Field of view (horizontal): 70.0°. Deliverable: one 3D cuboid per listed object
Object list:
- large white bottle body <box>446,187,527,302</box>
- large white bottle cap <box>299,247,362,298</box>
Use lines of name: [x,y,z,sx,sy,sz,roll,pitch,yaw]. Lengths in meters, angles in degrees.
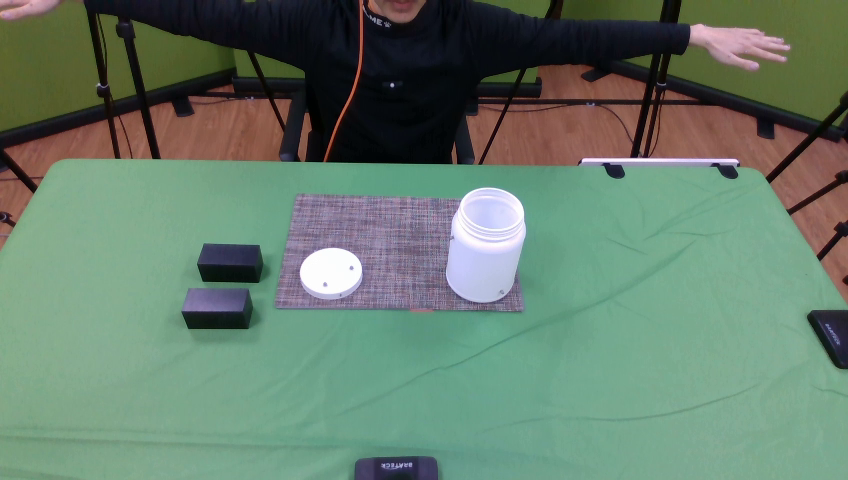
large white bottle body: [0.110,0.008,1.079,0.131,0.185,0.130,2,47,-2]
large white bottle cap: [-0.174,0.059,1.124,0.115,0.018,0.114,2,46,-2]
